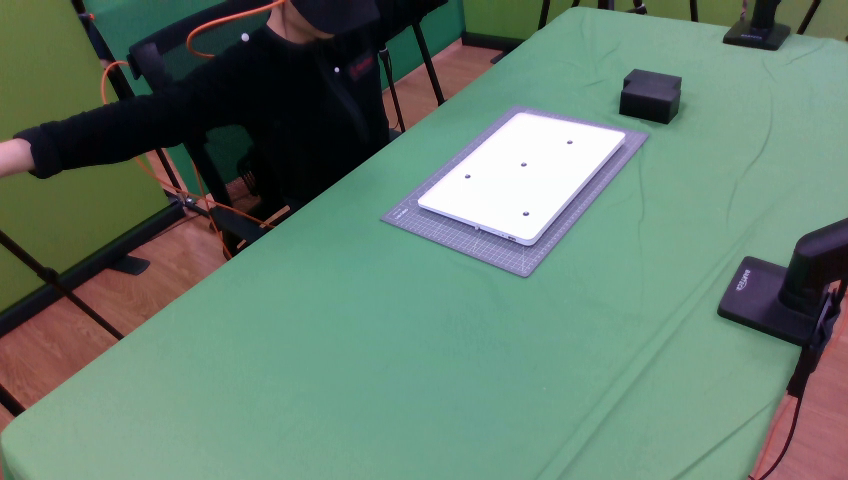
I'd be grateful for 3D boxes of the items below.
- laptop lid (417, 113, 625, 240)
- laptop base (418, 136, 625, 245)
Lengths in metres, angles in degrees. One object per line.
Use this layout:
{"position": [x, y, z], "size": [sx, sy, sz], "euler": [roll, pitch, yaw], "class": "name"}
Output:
{"position": [0.180, -0.132, 1.088], "size": [0.239, 0.013, 0.358], "euler": [22, 49, 34], "class": "laptop lid"}
{"position": [0.183, -0.123, 1.094], "size": [0.233, 0.023, 0.355], "euler": [19, 47, 34], "class": "laptop base"}
